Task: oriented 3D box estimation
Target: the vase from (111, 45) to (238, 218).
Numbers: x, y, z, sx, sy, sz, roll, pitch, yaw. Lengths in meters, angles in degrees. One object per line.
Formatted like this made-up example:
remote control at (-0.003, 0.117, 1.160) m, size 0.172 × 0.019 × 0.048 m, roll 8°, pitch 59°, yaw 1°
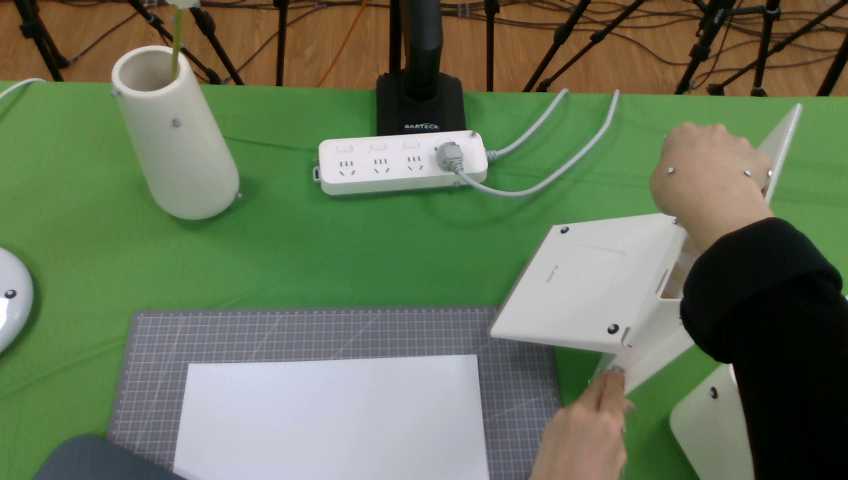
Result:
vase at (-0.265, -0.110, 0.651) m, size 0.098 × 0.201 × 0.097 m, roll 2°, pitch 58°, yaw -2°

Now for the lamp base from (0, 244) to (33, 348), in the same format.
lamp base at (-0.497, 0.022, 0.561) m, size 0.178 × 0.181 × 0.160 m, roll 28°, pitch 60°, yaw 15°

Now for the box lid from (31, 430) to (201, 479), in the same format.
box lid at (-0.219, 0.341, 0.495) m, size 0.370 × 0.015 × 0.262 m, roll 22°, pitch 60°, yaw 8°

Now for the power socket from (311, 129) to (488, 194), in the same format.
power socket at (-0.028, -0.101, 0.765) m, size 0.227 × 0.033 × 0.071 m, roll -5°, pitch 60°, yaw -9°

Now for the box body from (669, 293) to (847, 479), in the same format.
box body at (0.426, 0.239, 0.527) m, size 0.254 × 0.161 × 0.360 m, roll -19°, pitch 63°, yaw -16°

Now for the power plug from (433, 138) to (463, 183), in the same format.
power plug at (0.028, -0.091, 0.738) m, size 0.035 × 0.053 × 0.072 m, roll 5°, pitch 64°, yaw -3°

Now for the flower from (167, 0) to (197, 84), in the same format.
flower at (-0.239, -0.145, 0.578) m, size 0.038 × 0.362 × 0.044 m, roll 47°, pitch 56°, yaw 2°

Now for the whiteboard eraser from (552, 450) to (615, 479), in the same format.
whiteboard eraser at (0.129, 0.254, 0.558) m, size 0.055 × 0.042 × 0.112 m, roll 40°, pitch 64°, yaw 19°

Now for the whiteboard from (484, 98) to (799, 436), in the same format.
whiteboard at (0.168, 0.014, 0.557) m, size 0.143 × 0.307 × 0.216 m, roll 30°, pitch 61°, yaw 13°
